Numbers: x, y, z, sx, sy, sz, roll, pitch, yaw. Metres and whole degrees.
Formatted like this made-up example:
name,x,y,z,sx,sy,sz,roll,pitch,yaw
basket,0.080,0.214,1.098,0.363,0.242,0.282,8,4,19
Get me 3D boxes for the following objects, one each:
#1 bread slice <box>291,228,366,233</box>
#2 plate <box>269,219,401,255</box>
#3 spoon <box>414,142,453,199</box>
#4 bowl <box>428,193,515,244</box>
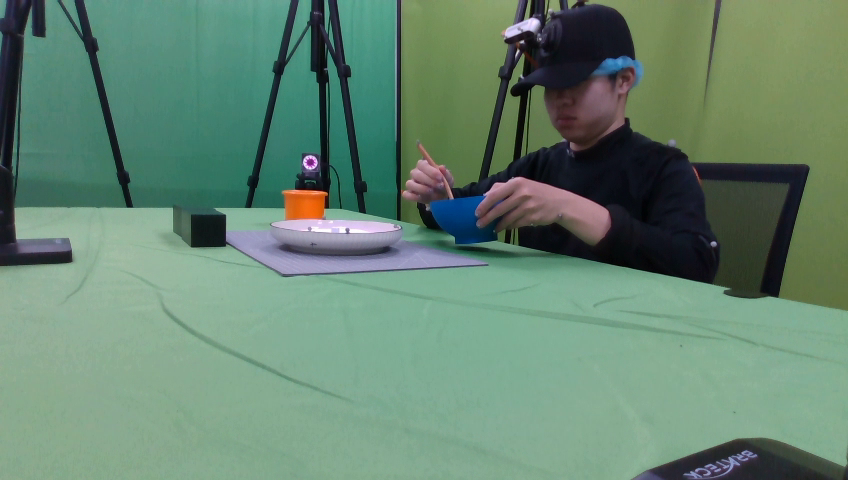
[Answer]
name,x,y,z,sx,sy,sz,roll,pitch,yaw
bread slice,-0.143,-0.003,0.953,0.135,0.018,0.106,-1,8,-37
plate,-0.140,-0.006,0.958,0.209,0.038,0.209,3,7,0
spoon,0.036,-0.094,1.060,0.021,0.193,0.042,-29,-12,2
bowl,0.085,-0.035,1.033,0.151,0.077,0.151,-6,3,1
